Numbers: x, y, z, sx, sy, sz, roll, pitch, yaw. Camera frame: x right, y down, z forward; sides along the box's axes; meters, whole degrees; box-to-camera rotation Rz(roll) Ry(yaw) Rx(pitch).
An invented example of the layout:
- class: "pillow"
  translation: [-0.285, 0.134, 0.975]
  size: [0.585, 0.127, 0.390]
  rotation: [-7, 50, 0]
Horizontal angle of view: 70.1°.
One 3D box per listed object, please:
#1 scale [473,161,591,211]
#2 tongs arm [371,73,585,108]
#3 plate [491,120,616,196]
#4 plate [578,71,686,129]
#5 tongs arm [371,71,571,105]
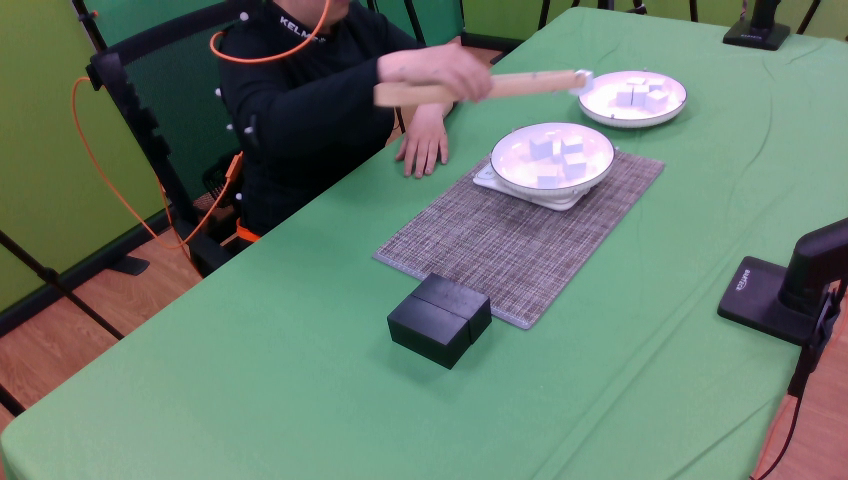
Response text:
- class: "scale"
  translation: [0.202, -0.121, 1.074]
  size: [0.199, 0.032, 0.149]
  rotation: [23, 49, 33]
- class: "tongs arm"
  translation: [0.099, -0.241, 0.958]
  size: [0.387, 0.026, 0.050]
  rotation: [-14, 28, -30]
- class: "plate"
  translation: [0.221, -0.137, 1.038]
  size: [0.207, 0.039, 0.206]
  rotation: [-6, 41, 5]
- class: "plate"
  translation: [0.416, -0.280, 1.222]
  size: [0.209, 0.038, 0.208]
  rotation: [-5, 41, 5]
- class: "tongs arm"
  translation: [0.088, -0.249, 0.978]
  size: [0.390, 0.028, 0.028]
  rotation: [-12, 30, -26]
